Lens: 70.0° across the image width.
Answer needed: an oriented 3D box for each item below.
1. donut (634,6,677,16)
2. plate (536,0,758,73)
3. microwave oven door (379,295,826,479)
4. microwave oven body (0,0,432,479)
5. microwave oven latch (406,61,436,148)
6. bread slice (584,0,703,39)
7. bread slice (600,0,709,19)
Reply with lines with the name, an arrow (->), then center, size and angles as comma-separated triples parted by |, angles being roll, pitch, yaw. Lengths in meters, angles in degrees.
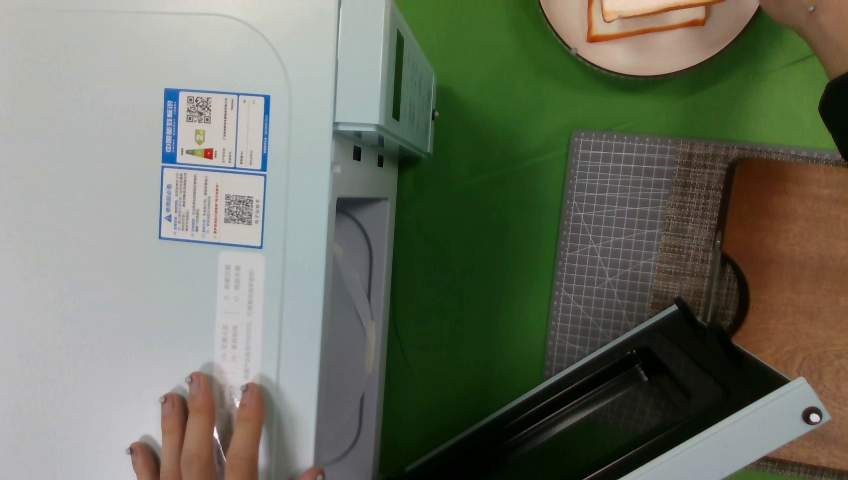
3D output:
donut -> 0.193, -0.244, 0.517 | 0.099, 0.048, 0.099 | 0, 101, 2
plate -> 0.198, -0.254, 0.545 | 0.207, 0.039, 0.208 | 1, 95, 8
microwave oven door -> 0.089, 0.173, 0.477 | 0.356, 0.244, 0.039 | -34, 89, 9
microwave oven body -> -0.178, 0.044, 0.506 | 0.325, 0.260, 0.442 | 5, 96, 7
microwave oven latch -> -0.005, -0.127, 0.565 | 0.030, 0.029, 0.079 | 5, 96, 7
bread slice -> 0.191, -0.255, 0.546 | 0.105, 0.019, 0.131 | -8, 94, 7
bread slice -> 0.187, -0.250, 0.488 | 0.107, 0.018, 0.134 | -11, 87, 10
